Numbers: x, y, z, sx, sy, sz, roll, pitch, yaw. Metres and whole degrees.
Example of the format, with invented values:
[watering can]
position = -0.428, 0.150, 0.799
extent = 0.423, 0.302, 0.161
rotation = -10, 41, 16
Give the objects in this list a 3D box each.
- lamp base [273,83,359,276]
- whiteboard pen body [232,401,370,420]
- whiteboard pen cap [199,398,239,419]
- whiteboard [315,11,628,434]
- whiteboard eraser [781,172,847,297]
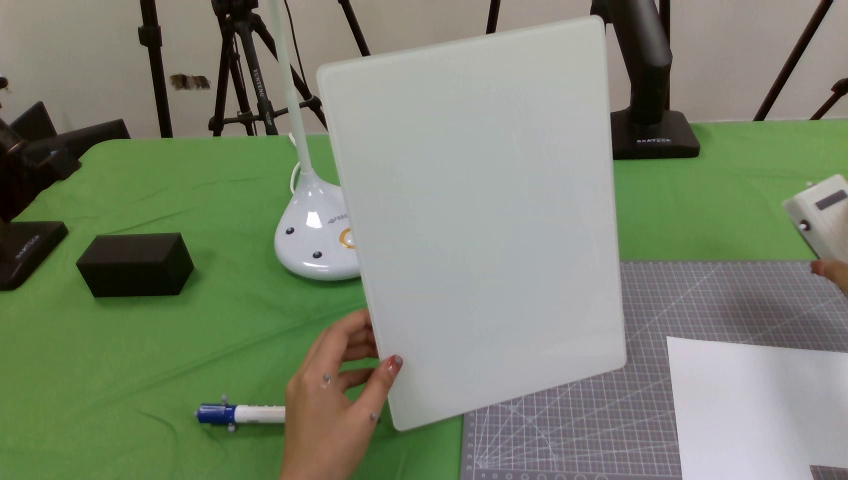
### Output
[lamp base]
position = -0.114, -0.077, 0.685
extent = 0.160, 0.182, 0.177
rotation = -32, 43, -30
[whiteboard pen body]
position = -0.118, 0.148, 0.526
extent = 0.141, 0.017, 0.017
rotation = 0, 38, 2
[whiteboard pen cap]
position = -0.177, 0.147, 0.529
extent = 0.033, 0.018, 0.018
rotation = 2, 38, -1
[whiteboard]
position = 0.040, -0.022, 0.541
extent = 0.217, 0.307, 0.142
rotation = -13, 19, -8
[whiteboard eraser]
position = 0.374, -0.001, 0.540
extent = 0.055, 0.042, 0.112
rotation = -24, 72, -9
